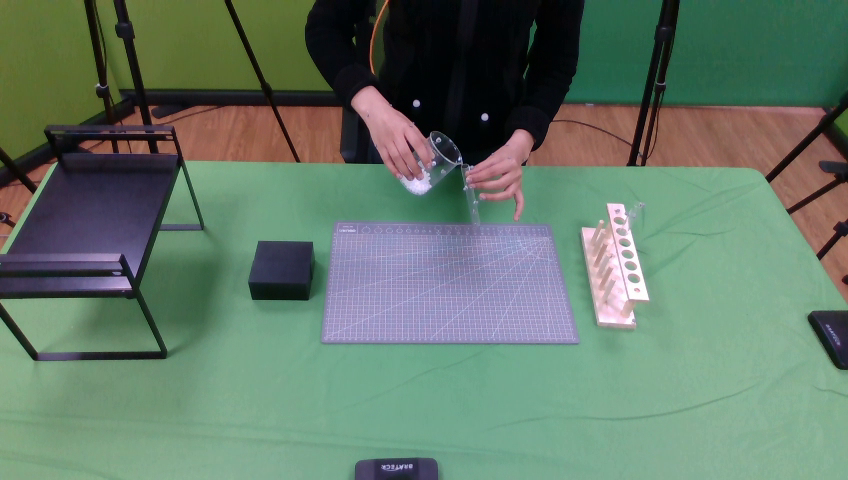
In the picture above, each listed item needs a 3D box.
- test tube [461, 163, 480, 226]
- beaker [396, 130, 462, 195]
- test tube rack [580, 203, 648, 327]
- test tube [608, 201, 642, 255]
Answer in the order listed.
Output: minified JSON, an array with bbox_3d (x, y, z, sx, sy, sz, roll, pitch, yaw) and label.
[{"bbox_3d":[0.087,-0.081,1.120,0.017,0.151,0.017,-8,44,8],"label":"test tube"},{"bbox_3d":[0.007,-0.132,1.069,0.084,0.100,0.073,32,36,-27],"label":"beaker"},{"bbox_3d":[0.352,0.041,1.143,0.067,0.085,0.241,4,46,-1],"label":"test tube rack"},{"bbox_3d":[0.373,-0.019,1.133,0.017,0.151,0.017,3,53,-4],"label":"test tube"}]
